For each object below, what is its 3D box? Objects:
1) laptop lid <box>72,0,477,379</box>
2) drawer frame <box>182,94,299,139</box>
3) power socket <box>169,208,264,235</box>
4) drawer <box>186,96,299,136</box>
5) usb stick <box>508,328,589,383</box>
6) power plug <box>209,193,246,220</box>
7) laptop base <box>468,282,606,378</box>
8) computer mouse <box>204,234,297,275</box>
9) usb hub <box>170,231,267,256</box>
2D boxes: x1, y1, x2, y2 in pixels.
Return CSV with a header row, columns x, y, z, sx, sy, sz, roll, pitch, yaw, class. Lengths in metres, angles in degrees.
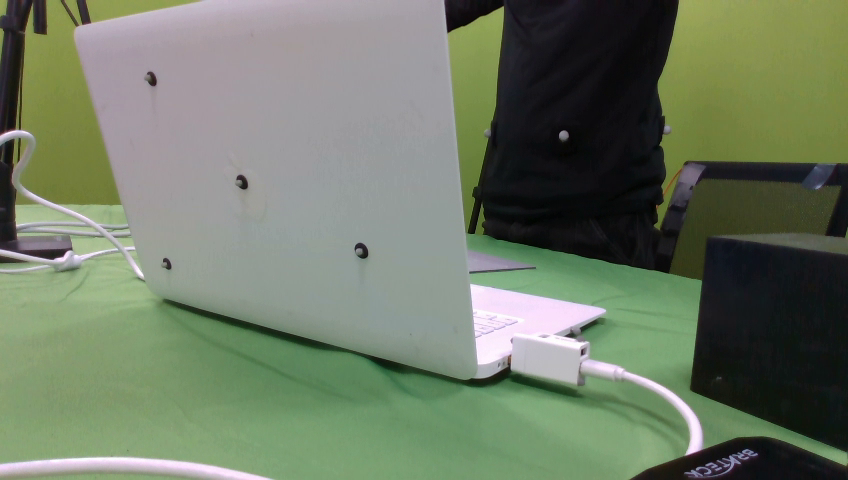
x,y,z,sx,sy,sz,roll,pitch,yaw,class
-0.125,-0.042,0.418,0.355,0.241,0.013,9,25,34,laptop lid
-0.418,-0.276,1.371,0.203,0.082,0.212,-4,9,-36,drawer frame
-0.381,-0.038,1.128,0.072,0.032,0.227,4,8,16,power socket
-0.415,-0.276,1.370,0.195,0.073,0.210,-4,9,-35,drawer
0.072,0.072,0.383,0.059,0.027,0.021,2,2,34,usb stick
-0.388,-0.067,1.205,0.072,0.052,0.035,3,8,26,power plug
-0.042,0.058,0.554,0.352,0.023,0.237,7,7,35,laptop base
-0.212,0.016,0.747,0.062,0.041,0.117,7,12,22,computer mouse
-0.290,0.004,0.862,0.049,0.025,0.126,10,11,42,usb hub
